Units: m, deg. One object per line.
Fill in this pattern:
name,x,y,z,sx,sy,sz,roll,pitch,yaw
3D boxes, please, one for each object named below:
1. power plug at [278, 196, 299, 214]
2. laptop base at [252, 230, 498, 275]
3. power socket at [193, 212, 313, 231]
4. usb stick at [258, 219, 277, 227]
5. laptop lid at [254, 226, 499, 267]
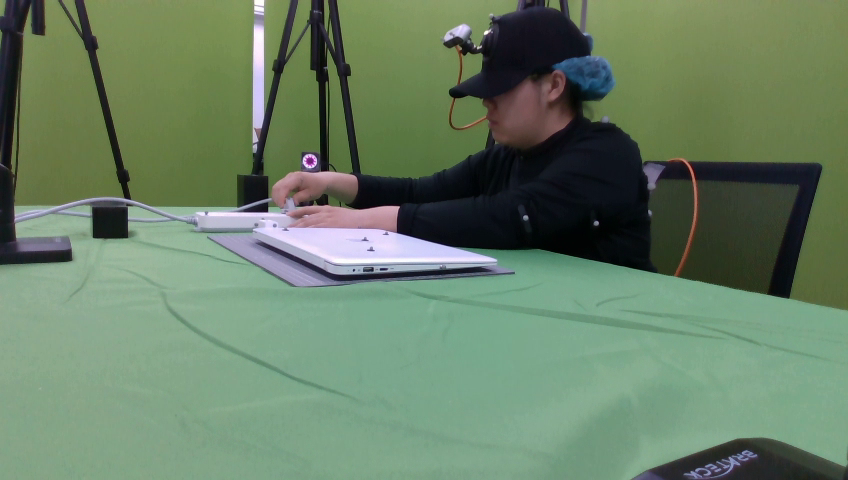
power plug,-0.273,-0.062,1.216,0.035,0.052,0.072,-1,8,-18
laptop base,-0.089,0.017,0.875,0.237,0.023,0.352,3,6,-32
power socket,-0.323,-0.036,1.152,0.228,0.032,0.072,-2,7,-32
usb stick,-0.256,-0.018,0.995,0.021,0.027,0.059,-2,12,-29
laptop lid,-0.086,0.005,0.875,0.243,0.013,0.355,1,7,-30
